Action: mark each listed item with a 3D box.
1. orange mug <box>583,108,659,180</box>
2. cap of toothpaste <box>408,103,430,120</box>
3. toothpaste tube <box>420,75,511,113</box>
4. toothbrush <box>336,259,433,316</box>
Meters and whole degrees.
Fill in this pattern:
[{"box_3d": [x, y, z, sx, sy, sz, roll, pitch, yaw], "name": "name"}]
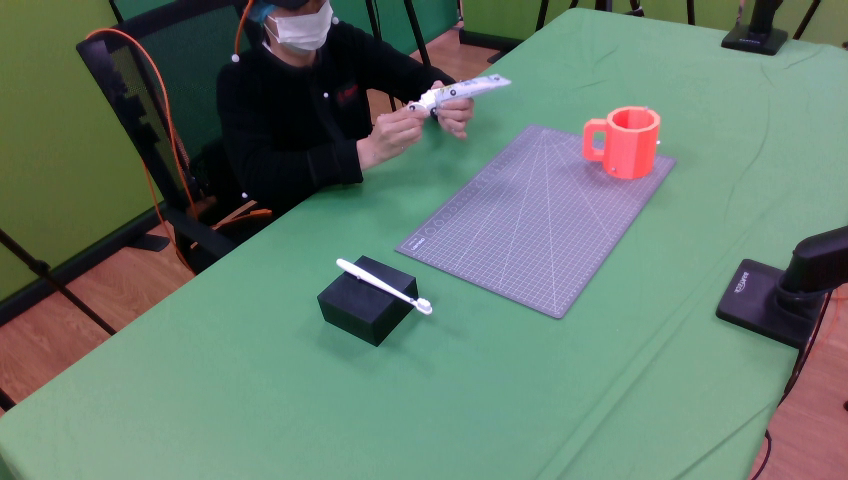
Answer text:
[{"box_3d": [0.343, -0.171, 1.061, 0.126, 0.101, 0.083, 10, 43, 15], "name": "orange mug"}, {"box_3d": [-0.009, -0.218, 1.023, 0.037, 0.037, 0.011, -1, 58, 9], "name": "cap of toothpaste"}, {"box_3d": [0.068, -0.258, 1.050, 0.165, 0.035, 0.054, -23, 39, -15], "name": "toothpaste tube"}, {"box_3d": [-0.059, 0.062, 0.839, 0.180, 0.017, 0.014, 24, 53, 33], "name": "toothbrush"}]
